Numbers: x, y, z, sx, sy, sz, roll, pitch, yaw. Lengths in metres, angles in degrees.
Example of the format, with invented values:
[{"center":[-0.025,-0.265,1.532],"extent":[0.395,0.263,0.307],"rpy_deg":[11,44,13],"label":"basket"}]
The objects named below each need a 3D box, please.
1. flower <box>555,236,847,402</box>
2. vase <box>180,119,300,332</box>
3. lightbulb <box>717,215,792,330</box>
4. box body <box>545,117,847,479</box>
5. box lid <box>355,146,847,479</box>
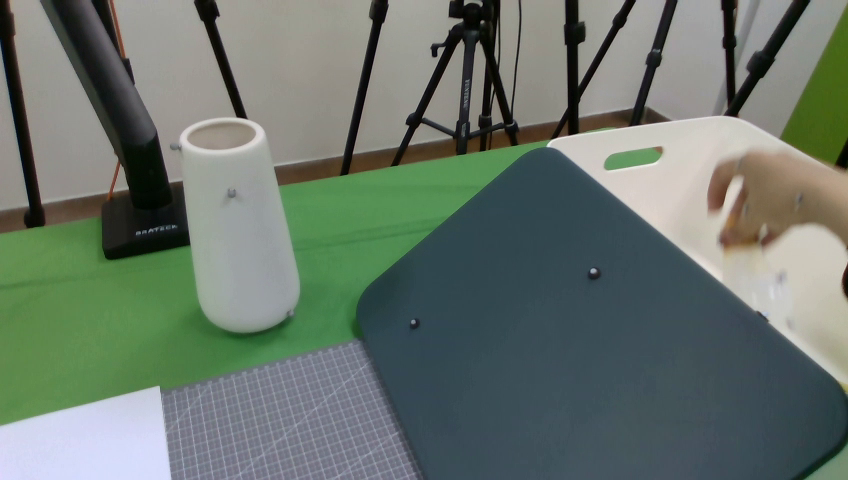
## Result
[{"center":[0.296,0.089,0.620],"extent":[0.358,0.038,0.044],"rpy_deg":[31,42,26],"label":"flower"},{"center":[-0.174,-0.009,0.572],"extent":[0.098,0.201,0.097],"rpy_deg":[1,35,0],"label":"vase"},{"center":[0.282,0.030,0.531],"extent":[0.059,0.107,0.059],"rpy_deg":[-11,-7,-1],"label":"lightbulb"},{"center":[0.293,0.039,0.572],"extent":[0.255,0.162,0.359],"rpy_deg":[-11,38,-18],"label":"box body"},{"center":[0.091,0.085,0.484],"extent":[0.263,0.015,0.367],"rpy_deg":[-41,42,6],"label":"box lid"}]
